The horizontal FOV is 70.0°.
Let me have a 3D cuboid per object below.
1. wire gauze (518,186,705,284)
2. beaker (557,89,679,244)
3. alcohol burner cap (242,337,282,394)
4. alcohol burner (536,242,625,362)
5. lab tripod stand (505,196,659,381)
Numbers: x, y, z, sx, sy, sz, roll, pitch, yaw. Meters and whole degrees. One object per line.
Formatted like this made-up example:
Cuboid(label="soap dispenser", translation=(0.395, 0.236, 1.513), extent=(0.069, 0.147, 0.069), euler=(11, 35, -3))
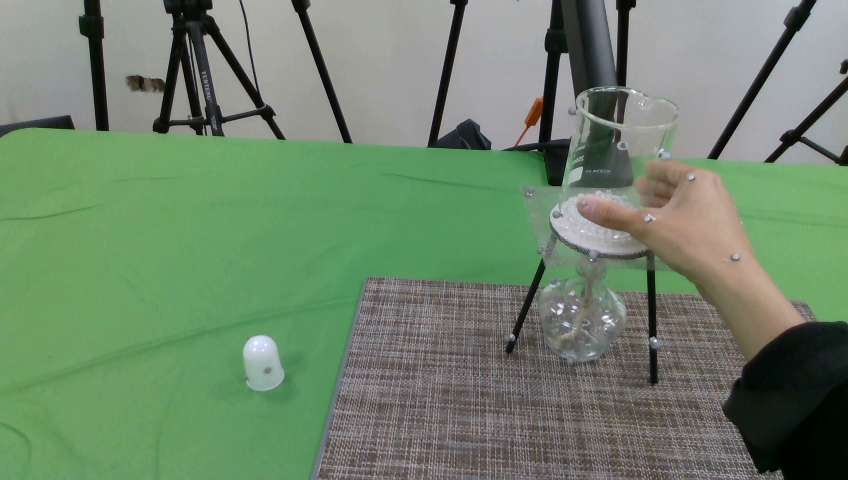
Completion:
Cuboid(label="wire gauze", translation=(0.145, -0.011, 0.487), extent=(0.125, 0.011, 0.120), euler=(3, 37, -4))
Cuboid(label="beaker", translation=(0.145, -0.056, 0.466), extent=(0.073, 0.101, 0.084), euler=(26, 41, 28))
Cuboid(label="alcohol burner cap", translation=(-0.140, 0.104, 0.518), extent=(0.034, 0.048, 0.033), euler=(1, 36, 0))
Cuboid(label="alcohol burner", translation=(0.140, 0.050, 0.532), extent=(0.078, 0.120, 0.077), euler=(2, 37, -1))
Cuboid(label="lab tripod stand", translation=(0.148, 0.040, 0.529), extent=(0.148, 0.132, 0.147), euler=(2, 35, -1))
